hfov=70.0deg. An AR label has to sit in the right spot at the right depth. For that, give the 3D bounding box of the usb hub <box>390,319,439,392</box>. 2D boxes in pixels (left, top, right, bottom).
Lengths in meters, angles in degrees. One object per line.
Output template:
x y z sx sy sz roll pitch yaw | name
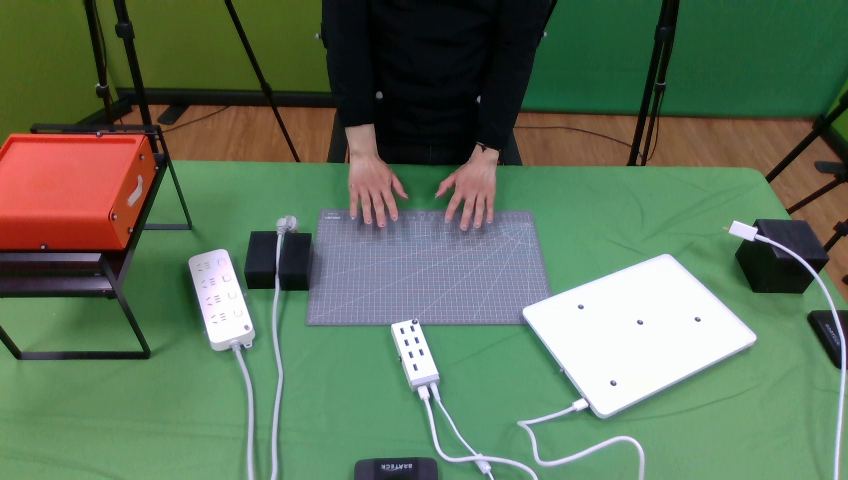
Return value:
-0.016 0.190 1.013 0.049 0.025 0.124 -11 48 -15 | usb hub

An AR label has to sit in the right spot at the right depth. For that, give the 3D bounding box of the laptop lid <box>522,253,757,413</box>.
0.380 0.147 1.073 0.357 0.013 0.240 -17 48 -19 | laptop lid

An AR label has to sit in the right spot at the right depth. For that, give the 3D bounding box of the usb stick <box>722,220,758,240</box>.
0.593 -0.021 1.139 0.059 0.027 0.021 22 12 29 | usb stick

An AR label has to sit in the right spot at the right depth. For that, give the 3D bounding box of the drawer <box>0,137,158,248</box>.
-0.549 -0.079 0.944 0.212 0.073 0.193 0 47 -3 | drawer

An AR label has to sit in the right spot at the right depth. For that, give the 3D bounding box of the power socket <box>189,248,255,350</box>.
-0.358 0.100 1.069 0.072 0.033 0.225 -17 51 -18 | power socket

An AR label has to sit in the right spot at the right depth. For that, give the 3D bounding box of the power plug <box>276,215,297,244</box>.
-0.267 -0.015 1.157 0.035 0.053 0.072 7 63 26 | power plug

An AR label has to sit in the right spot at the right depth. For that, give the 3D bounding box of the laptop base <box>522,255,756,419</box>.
0.381 0.157 1.080 0.355 0.023 0.234 -18 47 -21 | laptop base

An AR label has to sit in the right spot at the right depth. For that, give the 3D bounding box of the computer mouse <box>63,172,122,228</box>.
-0.522 -0.067 0.955 0.063 0.041 0.116 0 48 -9 | computer mouse

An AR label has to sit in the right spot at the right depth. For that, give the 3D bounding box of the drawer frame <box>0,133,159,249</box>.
-0.553 -0.078 0.942 0.214 0.083 0.200 -1 47 -4 | drawer frame
